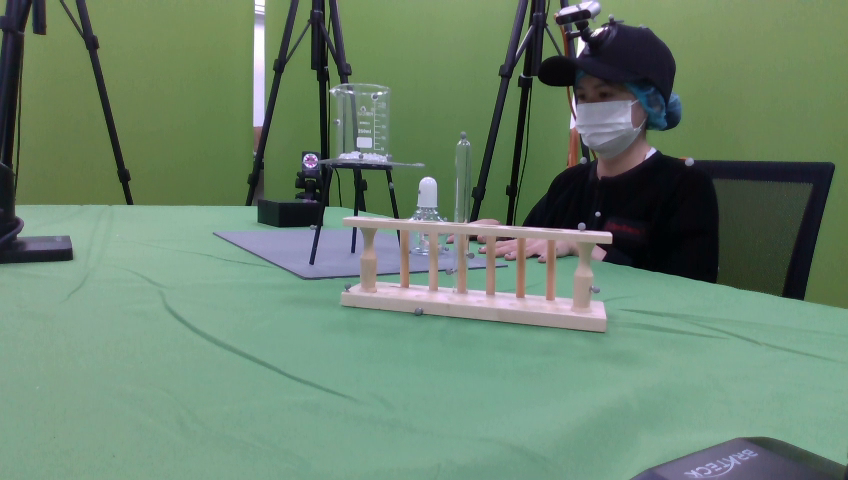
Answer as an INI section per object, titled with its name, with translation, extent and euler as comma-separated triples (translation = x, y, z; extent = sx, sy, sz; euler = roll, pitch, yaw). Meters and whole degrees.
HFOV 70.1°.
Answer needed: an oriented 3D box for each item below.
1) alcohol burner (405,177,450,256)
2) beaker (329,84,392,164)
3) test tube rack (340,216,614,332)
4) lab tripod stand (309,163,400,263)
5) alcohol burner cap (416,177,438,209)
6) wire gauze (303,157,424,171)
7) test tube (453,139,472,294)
[alcohol burner]
translation = 0.004, -0.036, 0.917
extent = 0.078, 0.119, 0.078
euler = 3, 6, 0
[beaker]
translation = -0.084, -0.149, 0.794
extent = 0.084, 0.100, 0.073
euler = -1, 6, -23
[test tube rack]
translation = 0.048, 0.026, 0.568
extent = 0.242, 0.085, 0.067
euler = 4, 7, 13
[lab tripod stand]
translation = -0.091, -0.037, 0.813
extent = 0.148, 0.131, 0.148
euler = 1, 6, 0
[alcohol burner cap]
translation = 0.005, -0.072, 0.914
extent = 0.034, 0.048, 0.034
euler = 3, 9, 0
[wire gauze]
translation = -0.082, -0.101, 0.799
extent = 0.126, 0.011, 0.121
euler = 1, 7, -30
[test tube]
translation = 0.037, -0.021, 0.584
extent = 0.017, 0.150, 0.017
euler = 1, 7, 0
